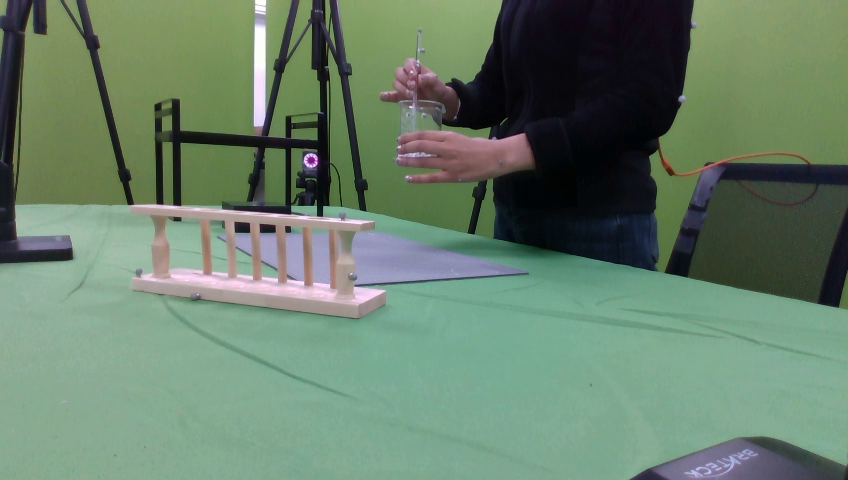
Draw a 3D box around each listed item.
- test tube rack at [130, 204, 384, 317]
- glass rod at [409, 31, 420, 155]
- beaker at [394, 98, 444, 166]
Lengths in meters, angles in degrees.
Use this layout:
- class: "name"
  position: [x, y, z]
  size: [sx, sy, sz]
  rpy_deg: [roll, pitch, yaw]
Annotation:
- class: "test tube rack"
  position: [-0.163, 0.013, 0.589]
  size: [0.242, 0.085, 0.067]
  rpy_deg: [5, 8, 17]
- class: "glass rod"
  position: [-0.014, -0.234, 0.964]
  size: [0.008, 0.199, 0.008]
  rpy_deg: [3, -2, 0]
- class: "beaker"
  position: [-0.007, -0.168, 0.958]
  size: [0.084, 0.100, 0.073]
  rpy_deg: [0, 5, -28]
